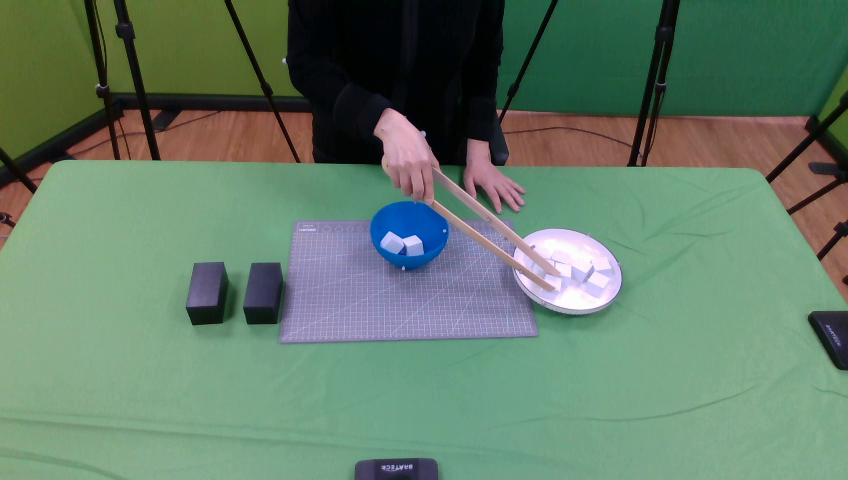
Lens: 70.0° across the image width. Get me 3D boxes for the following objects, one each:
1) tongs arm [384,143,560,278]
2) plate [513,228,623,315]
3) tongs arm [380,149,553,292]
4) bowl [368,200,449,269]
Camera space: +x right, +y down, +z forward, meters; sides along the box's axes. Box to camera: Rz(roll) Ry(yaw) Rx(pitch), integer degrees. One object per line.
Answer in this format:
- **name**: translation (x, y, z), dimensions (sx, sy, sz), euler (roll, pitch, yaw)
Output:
- **tongs arm**: translation (0.086, -0.045, 1.080), dimensions (0.385, 0.026, 0.050), euler (41, 60, -4)
- **plate**: translation (0.268, 0.063, 1.146), dimensions (0.208, 0.039, 0.206), euler (3, 46, -3)
- **tongs arm**: translation (0.074, -0.028, 1.068), dimensions (0.388, 0.028, 0.028), euler (37, 64, -6)
- **bowl**: translation (-0.031, 0.002, 1.151), dimensions (0.151, 0.077, 0.150), euler (2, 46, -2)
